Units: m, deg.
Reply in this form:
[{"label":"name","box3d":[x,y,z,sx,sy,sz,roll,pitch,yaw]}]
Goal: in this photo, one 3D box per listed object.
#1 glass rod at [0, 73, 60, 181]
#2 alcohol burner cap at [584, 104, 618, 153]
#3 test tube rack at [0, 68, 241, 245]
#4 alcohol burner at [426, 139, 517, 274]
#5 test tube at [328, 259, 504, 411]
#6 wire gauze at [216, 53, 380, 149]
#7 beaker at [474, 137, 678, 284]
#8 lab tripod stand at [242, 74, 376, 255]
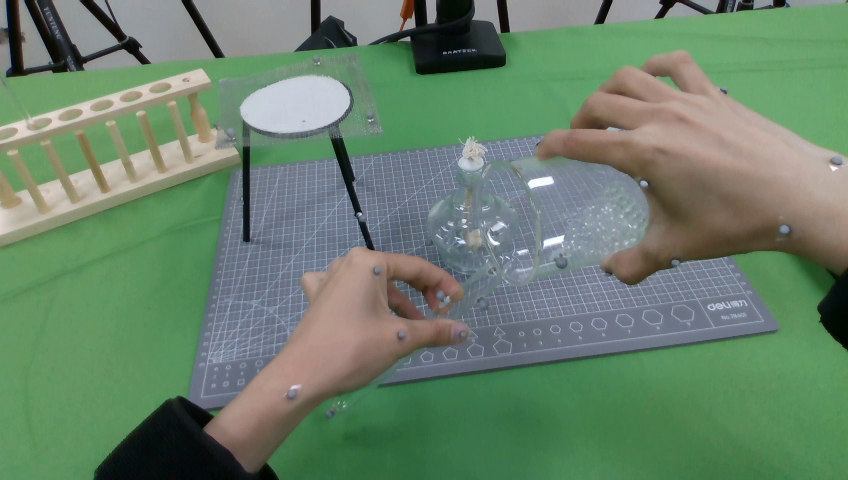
[{"label":"glass rod","box3d":[-0.374,-0.123,0.555,0.008,0.201,0.008,-1,47,2]},{"label":"alcohol burner cap","box3d":[0.188,-0.120,0.639,0.034,0.048,0.033,-2,43,2]},{"label":"test tube rack","box3d":[-0.323,-0.089,0.614,0.243,0.086,0.066,-24,47,-20]},{"label":"alcohol burner","box3d":[0.039,-0.030,0.502,0.078,0.120,0.077,-2,42,2]},{"label":"test tube","box3d":[-0.008,0.064,0.393,0.150,0.017,0.017,-42,44,15]},{"label":"wire gauze","box3d":[-0.105,-0.113,0.486,0.125,0.011,0.120,-11,44,-7]},{"label":"beaker","box3d":[0.090,-0.019,0.362,0.100,0.084,0.073,-12,50,-18]},{"label":"lab tripod stand","box3d":[-0.102,-0.064,0.533,0.148,0.133,0.147,-2,45,3]}]
